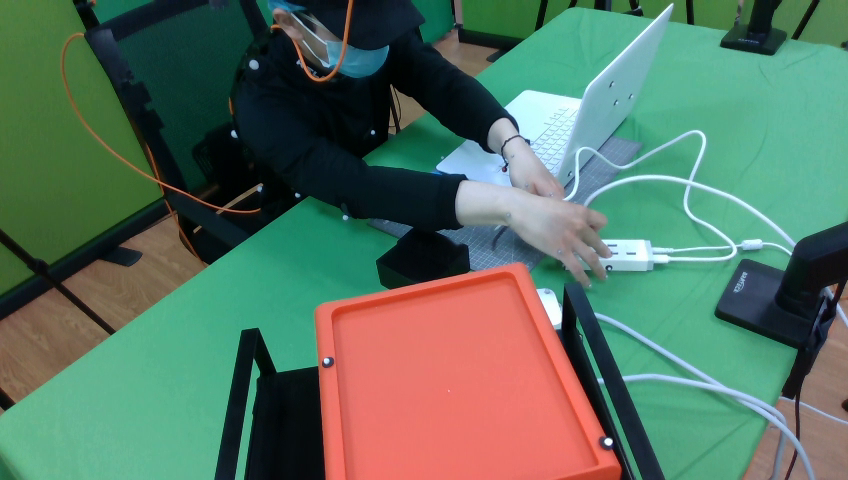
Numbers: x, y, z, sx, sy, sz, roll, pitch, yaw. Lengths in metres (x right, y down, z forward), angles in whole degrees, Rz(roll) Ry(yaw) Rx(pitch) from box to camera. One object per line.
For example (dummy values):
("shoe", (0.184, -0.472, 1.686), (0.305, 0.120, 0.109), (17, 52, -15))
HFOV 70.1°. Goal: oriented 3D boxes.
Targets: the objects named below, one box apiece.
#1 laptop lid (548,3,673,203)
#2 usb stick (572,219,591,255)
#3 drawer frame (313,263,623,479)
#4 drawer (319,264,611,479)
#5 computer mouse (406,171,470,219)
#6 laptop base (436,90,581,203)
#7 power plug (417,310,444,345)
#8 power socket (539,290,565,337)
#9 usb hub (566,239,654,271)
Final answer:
("laptop lid", (0.320, -0.235, 1.026), (0.013, 0.242, 0.357), (31, 50, 20))
("usb stick", (0.233, 0.000, 0.890), (0.021, 0.059, 0.027), (-11, 33, 11))
("drawer frame", (0.021, 0.130, 0.494), (0.202, 0.083, 0.212), (-11, 41, -6))
("drawer", (0.020, 0.129, 0.497), (0.195, 0.073, 0.210), (-11, 41, -5))
("computer mouse", (0.024, -0.082, 1.049), (0.063, 0.041, 0.116), (-29, 50, -28))
("laptop base", (0.214, -0.192, 1.172), (0.233, 0.023, 0.355), (19, 46, 32))
("power plug", (0.007, 0.122, 0.785), (0.035, 0.053, 0.072), (1, 39, 7))
("power socket", (0.081, 0.112, 0.822), (0.227, 0.033, 0.072), (-7, 41, 0))
("usb hub", (0.277, 0.022, 0.906), (0.125, 0.025, 0.049), (-1, 40, 13))
